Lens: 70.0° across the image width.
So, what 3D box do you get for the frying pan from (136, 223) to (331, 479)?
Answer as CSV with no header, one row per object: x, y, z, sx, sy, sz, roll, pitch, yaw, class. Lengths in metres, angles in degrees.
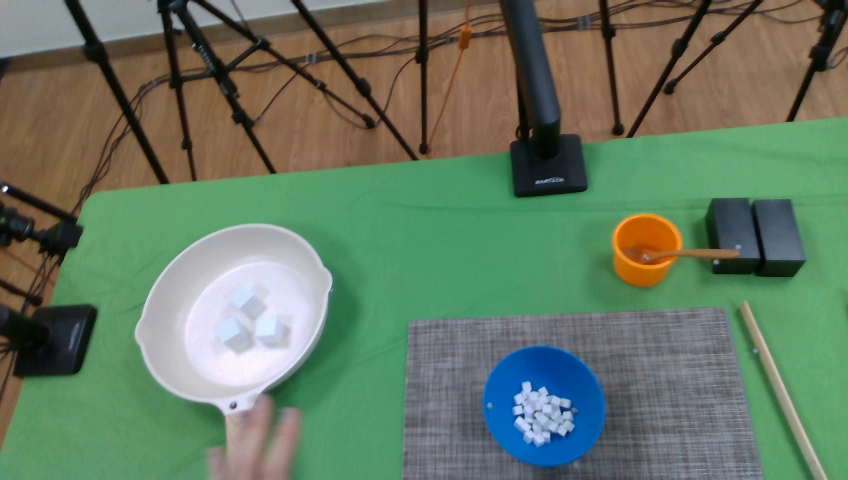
-0.264,0.189,0.867,0.307,0.104,0.482,-16,50,3,frying pan

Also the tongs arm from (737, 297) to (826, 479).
0.472,0.244,0.741,0.028,0.028,0.383,-12,59,1,tongs arm

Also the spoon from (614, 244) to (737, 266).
0.335,0.018,0.825,0.022,0.193,0.041,46,69,-15,spoon

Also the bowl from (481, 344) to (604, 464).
0.152,0.218,0.782,0.151,0.077,0.150,-4,60,8,bowl
